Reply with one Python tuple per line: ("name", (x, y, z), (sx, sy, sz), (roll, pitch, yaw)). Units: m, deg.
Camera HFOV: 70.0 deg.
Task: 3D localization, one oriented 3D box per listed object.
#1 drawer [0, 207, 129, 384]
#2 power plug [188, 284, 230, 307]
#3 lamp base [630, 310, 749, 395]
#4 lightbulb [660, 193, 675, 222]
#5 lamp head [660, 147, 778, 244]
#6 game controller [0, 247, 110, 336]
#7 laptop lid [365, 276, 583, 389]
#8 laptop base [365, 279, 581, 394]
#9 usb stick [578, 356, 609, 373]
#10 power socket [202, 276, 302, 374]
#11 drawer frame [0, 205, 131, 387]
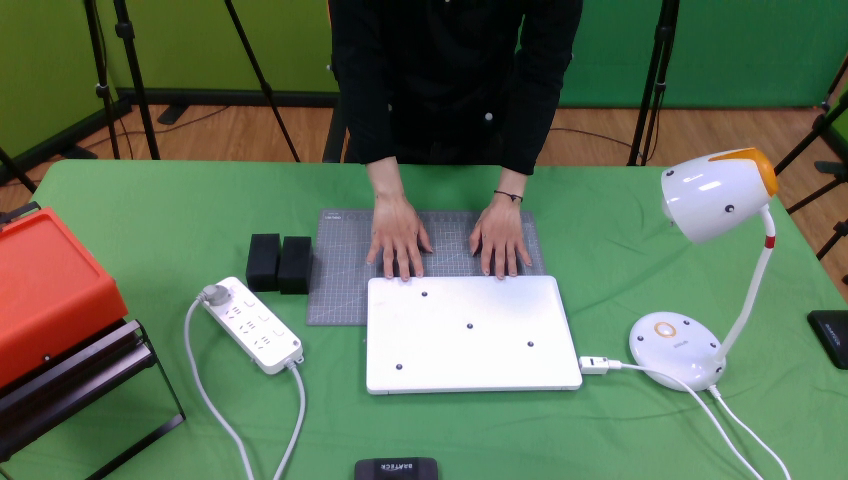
("drawer", (-0.539, 0.074, 0.798), (0.193, 0.073, 0.211), (37, 55, 27))
("power plug", (-0.368, 0.100, 1.036), (0.072, 0.053, 0.035), (-26, 53, -24))
("lamp base", (0.447, 0.142, 0.984), (0.161, 0.181, 0.178), (-24, 55, -24))
("lightbulb", (0.369, -0.060, 0.808), (0.060, 0.107, 0.059), (20, 58, -36))
("lamp head", (0.389, -0.063, 0.785), (0.123, 0.113, 0.112), (-21, 33, 37))
("game controller", (-0.511, 0.063, 0.830), (0.097, 0.052, 0.154), (-29, 57, -33))
("laptop lid", (0.077, 0.151, 1.044), (0.357, 0.013, 0.240), (1, 46, -3))
("laptop base", (0.077, 0.162, 1.053), (0.355, 0.023, 0.234), (0, 44, -4))
("usb stick", (0.274, 0.207, 1.007), (0.059, 0.027, 0.021), (-1, 52, 0))
("power socket", (-0.296, 0.142, 1.034), (0.072, 0.033, 0.225), (-34, 58, -31))
("drawer frame", (-0.540, 0.075, 0.795), (0.200, 0.083, 0.213), (36, 54, 26))
